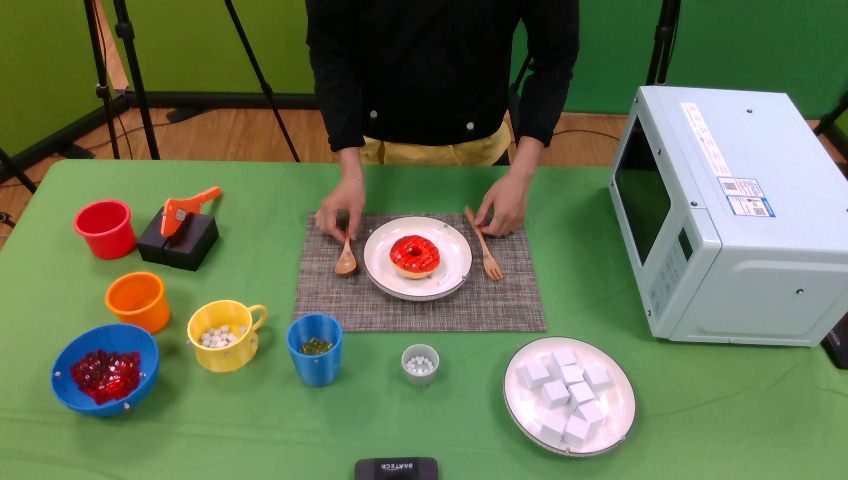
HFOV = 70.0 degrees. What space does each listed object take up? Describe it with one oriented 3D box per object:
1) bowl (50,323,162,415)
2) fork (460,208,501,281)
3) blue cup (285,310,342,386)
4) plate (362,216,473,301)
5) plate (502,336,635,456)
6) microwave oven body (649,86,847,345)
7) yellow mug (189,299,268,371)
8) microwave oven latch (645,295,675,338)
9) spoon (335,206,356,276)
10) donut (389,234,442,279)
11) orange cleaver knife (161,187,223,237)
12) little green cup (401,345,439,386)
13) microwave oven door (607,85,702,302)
[{"bbox_3d":[-0.472,0.209,0.924,0.151,0.077,0.150,2,45,-2],"label":"bowl"},{"bbox_3d":[0.109,0.005,1.200,0.028,0.018,0.206,22,35,-38],"label":"fork"},{"bbox_3d":[-0.170,0.179,0.958,0.093,0.101,0.092,2,44,-1],"label":"blue cup"},{"bbox_3d":[-0.012,0.038,1.144,0.209,0.038,0.208,2,46,-2],"label":"plate"},{"bbox_3d":[0.225,0.248,0.963,0.208,0.039,0.206,2,46,-2],"label":"plate"},{"bbox_3d":[0.568,-0.053,1.118,0.326,0.261,0.439,2,45,-1],"label":"microwave oven body"},{"bbox_3d":[-0.316,0.148,1.002,0.131,0.064,0.099,-32,56,-31],"label":"yellow mug"},{"bbox_3d":[0.412,0.134,1.061,0.030,0.029,0.078,3,45,0],"label":"microwave oven latch"},{"bbox_3d":[-0.148,-0.002,1.181,0.041,0.022,0.192,-13,47,13],"label":"spoon"},{"bbox_3d":[-0.016,0.031,1.135,0.099,0.048,0.098,4,44,-3],"label":"donut"},{"bbox_3d":[-0.448,-0.058,1.181,0.012,0.077,0.211,13,17,6],"label":"orange cleaver knife"},{"bbox_3d":[-0.007,0.206,0.988,0.061,0.039,0.061,2,46,-2],"label":"little green cup"},{"bbox_3d":[0.424,-0.094,1.141,0.039,0.245,0.353,2,46,-1],"label":"microwave oven door"}]
